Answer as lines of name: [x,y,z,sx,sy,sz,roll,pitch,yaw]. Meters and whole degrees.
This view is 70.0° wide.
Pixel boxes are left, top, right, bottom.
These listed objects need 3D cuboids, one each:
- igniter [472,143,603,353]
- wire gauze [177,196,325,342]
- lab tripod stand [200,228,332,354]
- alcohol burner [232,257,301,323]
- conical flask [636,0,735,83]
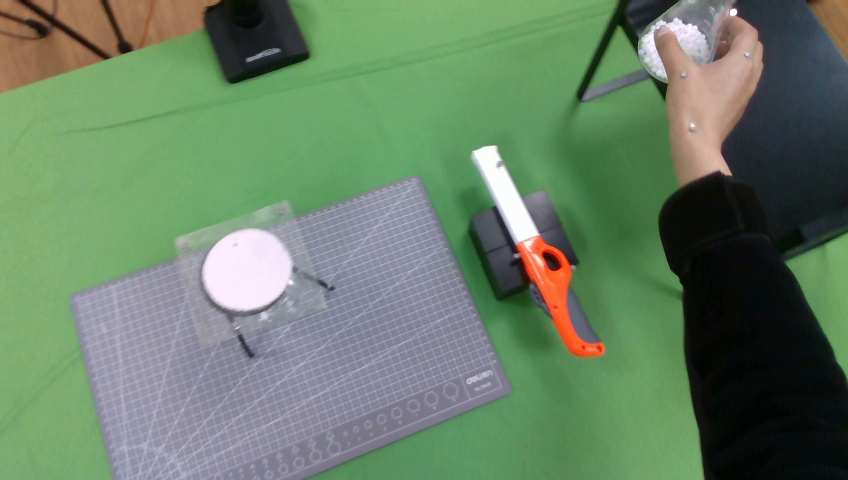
igniter: [0.127,0.007,0.702,0.057,0.025,0.274,-21,73,-12]
wire gauze: [-0.175,0.028,0.604,0.125,0.011,0.120,-18,74,-7]
lab tripod stand: [-0.185,0.046,0.669,0.148,0.132,0.147,0,73,0]
alcohol burner: [-0.180,0.052,0.678,0.078,0.119,0.077,0,74,0]
conical flask: [0.249,-0.204,0.551,0.075,0.122,0.075,1,75,-2]
